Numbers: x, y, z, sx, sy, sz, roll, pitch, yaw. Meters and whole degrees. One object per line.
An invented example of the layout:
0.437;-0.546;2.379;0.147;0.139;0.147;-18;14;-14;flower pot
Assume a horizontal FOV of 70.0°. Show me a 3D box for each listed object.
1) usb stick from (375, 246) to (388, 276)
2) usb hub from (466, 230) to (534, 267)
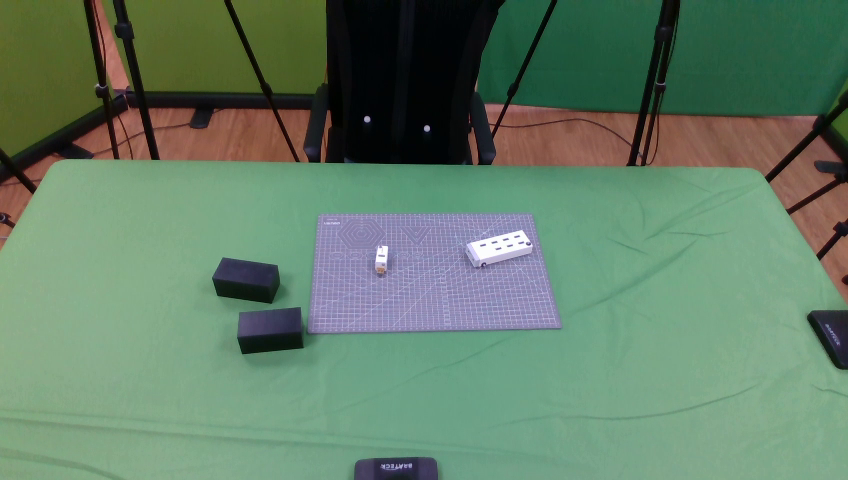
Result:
-0.081;0.040;1.146;0.021;0.027;0.059;6;48;-1;usb stick
0.148;0.017;1.185;0.125;0.025;0.049;-14;49;-16;usb hub
